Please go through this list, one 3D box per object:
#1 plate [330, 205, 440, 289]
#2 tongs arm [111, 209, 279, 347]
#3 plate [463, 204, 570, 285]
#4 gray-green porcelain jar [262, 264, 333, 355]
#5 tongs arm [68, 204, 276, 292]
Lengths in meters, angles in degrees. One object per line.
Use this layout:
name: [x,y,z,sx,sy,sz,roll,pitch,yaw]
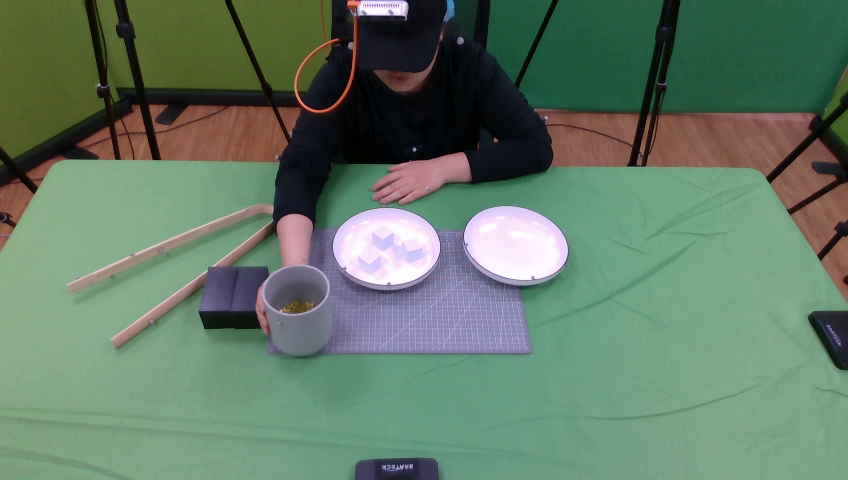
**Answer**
plate: [-0.074,0.017,1.160,0.208,0.039,0.206,2,46,-2]
tongs arm: [-0.400,0.060,1.108,0.028,0.028,0.387,27,50,23]
plate: [0.178,0.012,1.184,0.209,0.038,0.208,3,46,-3]
gray-green porcelain jar: [-0.204,0.119,0.992,0.106,0.127,0.105,2,46,-2]
tongs arm: [-0.459,0.014,1.142,0.385,0.026,0.050,-30,56,-30]
